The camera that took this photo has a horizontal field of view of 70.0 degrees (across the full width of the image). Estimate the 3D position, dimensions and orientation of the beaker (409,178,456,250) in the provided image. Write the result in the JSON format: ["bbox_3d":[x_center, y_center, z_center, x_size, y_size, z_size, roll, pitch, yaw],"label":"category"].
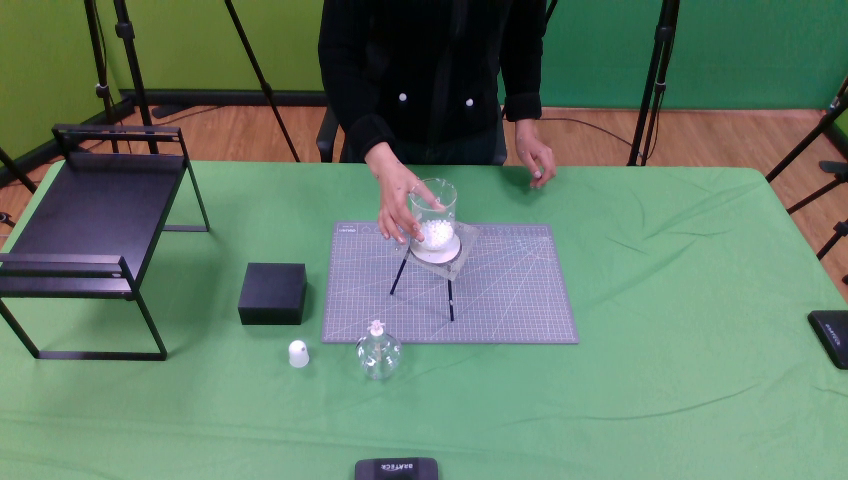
[{"bbox_3d":[0.016,-0.041,0.979,0.074,0.101,0.083,18,50,16],"label":"beaker"}]

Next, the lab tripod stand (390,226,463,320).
[{"bbox_3d":[0.014,0.053,1.063,0.148,0.132,0.147,1,48,-1],"label":"lab tripod stand"}]

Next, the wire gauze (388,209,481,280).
[{"bbox_3d":[0.018,0.002,1.019,0.125,0.011,0.121,21,49,16],"label":"wire gauze"}]

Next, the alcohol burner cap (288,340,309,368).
[{"bbox_3d":[-0.207,0.183,0.991,0.034,0.048,0.033,3,47,-3],"label":"alcohol burner cap"}]

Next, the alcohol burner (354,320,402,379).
[{"bbox_3d":[-0.074,0.169,0.964,0.078,0.120,0.077,1,46,-1],"label":"alcohol burner"}]
